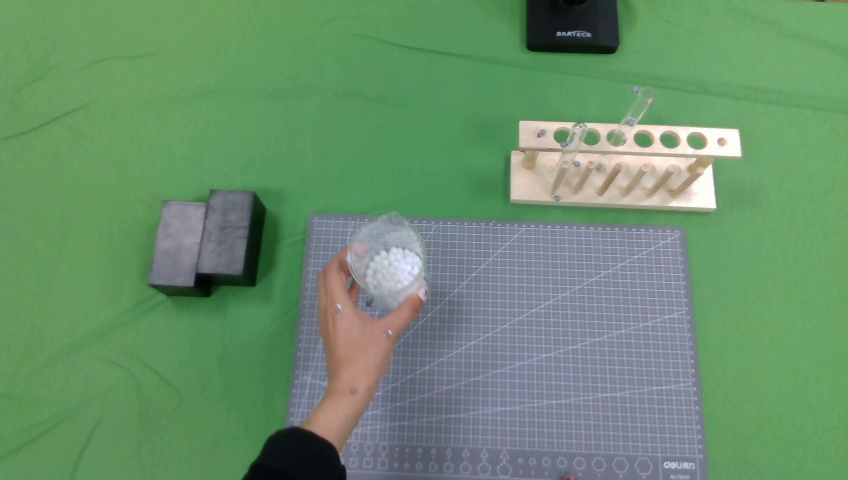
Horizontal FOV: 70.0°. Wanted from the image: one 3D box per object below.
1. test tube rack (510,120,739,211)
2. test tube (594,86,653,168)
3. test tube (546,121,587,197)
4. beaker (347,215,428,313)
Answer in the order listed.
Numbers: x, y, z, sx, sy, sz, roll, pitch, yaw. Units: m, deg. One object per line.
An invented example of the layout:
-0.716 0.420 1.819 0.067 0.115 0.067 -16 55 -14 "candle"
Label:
0.226 -0.085 0.707 0.242 0.085 0.066 3 71 1 "test tube rack"
0.216 -0.119 0.666 0.017 0.151 0.017 1 69 -2 "test tube"
0.154 -0.085 0.660 0.017 0.151 0.017 0 69 1 "test tube"
-0.032 0.028 0.605 0.074 0.101 0.083 7 73 4 "beaker"
